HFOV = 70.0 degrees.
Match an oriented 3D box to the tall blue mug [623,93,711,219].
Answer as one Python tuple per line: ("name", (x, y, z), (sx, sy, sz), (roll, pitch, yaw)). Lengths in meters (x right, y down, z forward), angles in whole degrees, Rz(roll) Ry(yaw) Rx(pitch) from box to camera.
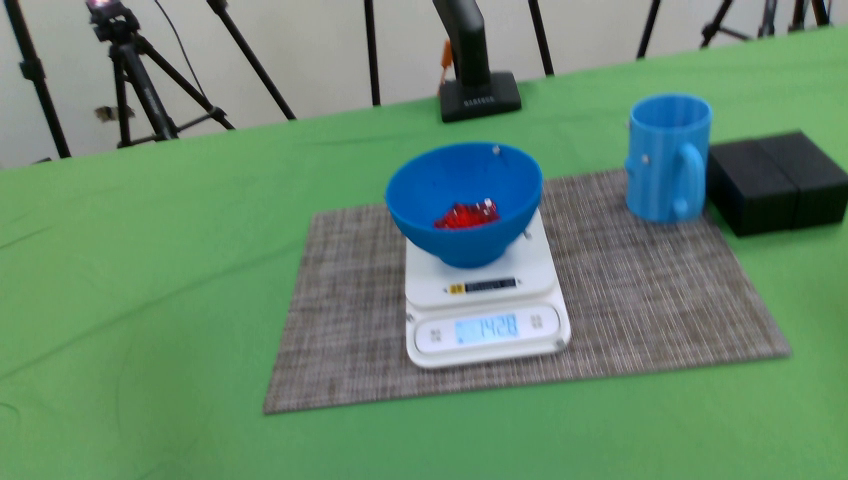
("tall blue mug", (0.259, -0.079, 0.621), (0.078, 0.109, 0.106), (-28, 41, -19))

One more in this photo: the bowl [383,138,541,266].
("bowl", (0.041, -0.028, 0.593), (0.151, 0.077, 0.150), (-7, 39, 6))

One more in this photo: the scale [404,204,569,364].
("scale", (0.054, 0.032, 0.601), (0.148, 0.032, 0.199), (-8, 39, 6))
